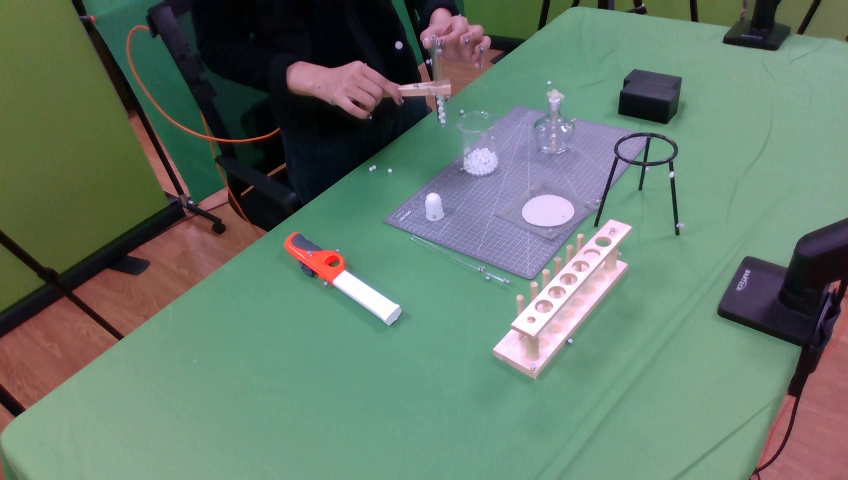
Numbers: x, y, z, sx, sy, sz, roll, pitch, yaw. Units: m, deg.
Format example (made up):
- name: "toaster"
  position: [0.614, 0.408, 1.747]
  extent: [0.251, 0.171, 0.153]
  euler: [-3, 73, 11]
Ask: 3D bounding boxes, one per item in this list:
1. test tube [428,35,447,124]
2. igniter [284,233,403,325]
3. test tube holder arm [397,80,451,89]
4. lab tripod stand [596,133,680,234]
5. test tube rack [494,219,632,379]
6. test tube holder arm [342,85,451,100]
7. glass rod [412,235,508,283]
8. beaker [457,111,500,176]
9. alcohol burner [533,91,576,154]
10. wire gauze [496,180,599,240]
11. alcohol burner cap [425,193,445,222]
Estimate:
- name: "test tube"
  position: [0.023, -0.256, 0.977]
  extent: [0.017, 0.151, 0.017]
  euler: [-5, 39, 5]
- name: "igniter"
  position: [-0.136, 0.054, 0.942]
  extent: [0.274, 0.025, 0.057]
  euler: [29, 63, 37]
- name: "test tube holder arm"
  position: [0.000, -0.248, 0.989]
  extent: [0.088, 0.015, 0.010]
  euler: [-9, 40, -4]
- name: "lab tripod stand"
  position: [0.338, -0.091, 0.940]
  extent: [0.148, 0.132, 0.147]
  euler: [-7, 39, 6]
- name: "test tube rack"
  position: [0.191, 0.068, 0.818]
  extent: [0.066, 0.085, 0.243]
  euler: [25, 51, 35]
- name: "test tube holder arm"
  position: [-0.045, -0.240, 0.985]
  extent: [0.178, 0.015, 0.013]
  euler: [-3, 39, 3]
- name: "glass rod"
  position: [0.051, 0.028, 0.951]
  extent: [0.198, 0.008, 0.008]
  euler: [25, 51, 37]
- name: "beaker"
  position: [0.104, -0.176, 1.108]
  extent: [0.073, 0.101, 0.084]
  euler: [16, 46, 27]
- name: "alcohol burner"
  position: [0.243, -0.222, 1.124]
  extent: [0.078, 0.119, 0.077]
  euler: [-4, 39, 4]
- name: "wire gauze"
  position: [0.206, -0.050, 1.012]
  extent: [0.125, 0.011, 0.120]
  euler: [-34, 45, -26]
- name: "alcohol burner cap"
  position: [0.017, -0.058, 1.029]
  extent: [0.034, 0.048, 0.033]
  euler: [-6, 40, 5]
